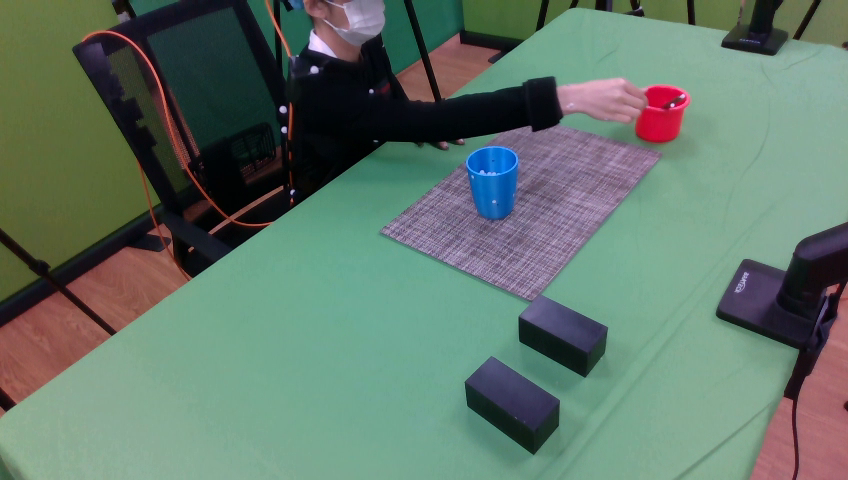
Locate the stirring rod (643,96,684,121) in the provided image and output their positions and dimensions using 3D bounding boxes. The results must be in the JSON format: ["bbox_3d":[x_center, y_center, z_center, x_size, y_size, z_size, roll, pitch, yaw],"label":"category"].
[{"bbox_3d":[0.433,-0.238,1.100,0.014,0.006,0.176,-1,-1,2],"label":"stirring rod"}]

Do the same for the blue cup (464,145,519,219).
[{"bbox_3d":[0.116,-0.091,0.997,0.092,0.101,0.092,-5,42,5],"label":"blue cup"}]
